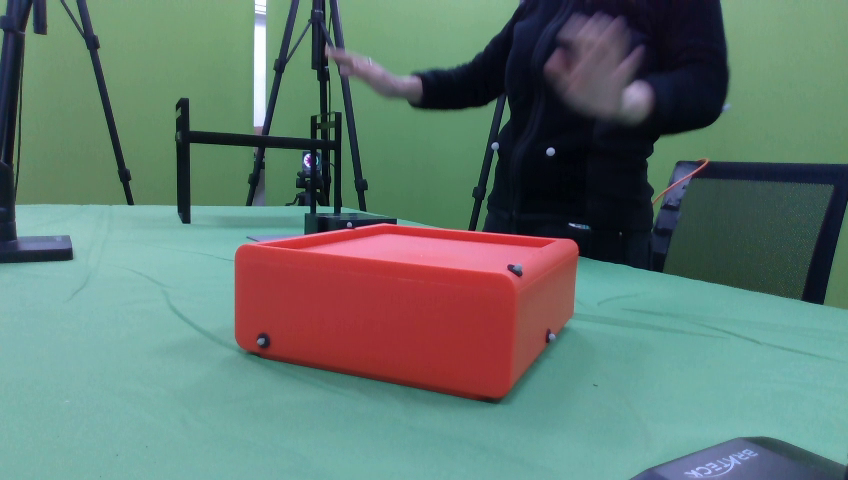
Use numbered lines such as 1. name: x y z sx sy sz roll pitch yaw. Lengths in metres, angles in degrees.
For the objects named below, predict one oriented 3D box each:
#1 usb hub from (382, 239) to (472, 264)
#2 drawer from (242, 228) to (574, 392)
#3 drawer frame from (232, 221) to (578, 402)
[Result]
1. usb hub: 0.006 0.015 0.853 0.126 0.025 0.049 -3 9 -36
2. drawer: 0.001 0.041 0.476 0.194 0.073 0.212 6 9 22
3. drawer frame: 0.001 0.038 0.475 0.201 0.082 0.214 6 9 22
